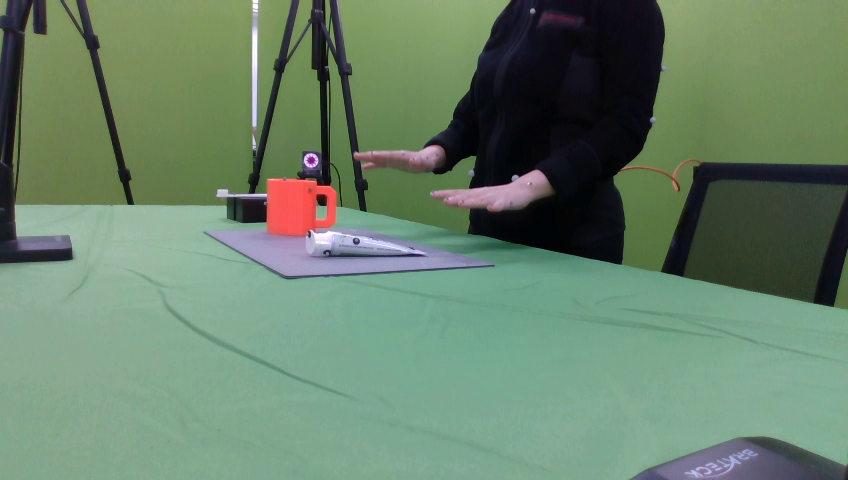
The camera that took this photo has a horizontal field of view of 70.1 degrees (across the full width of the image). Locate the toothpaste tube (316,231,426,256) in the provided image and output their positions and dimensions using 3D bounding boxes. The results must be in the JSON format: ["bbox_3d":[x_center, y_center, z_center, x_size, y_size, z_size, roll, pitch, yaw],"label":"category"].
[{"bbox_3d":[-0.080,0.009,0.870,0.166,0.034,0.055,4,11,-26],"label":"toothpaste tube"}]

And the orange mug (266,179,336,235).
[{"bbox_3d":[-0.222,-0.062,1.094,0.127,0.101,0.083,-5,10,-22],"label":"orange mug"}]

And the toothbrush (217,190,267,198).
[{"bbox_3d":[-0.344,-0.096,1.282,0.183,0.016,0.014,-1,5,-27],"label":"toothbrush"}]

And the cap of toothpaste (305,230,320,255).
[{"bbox_3d":[-0.154,0.003,0.836,0.011,0.037,0.037,-3,9,-34],"label":"cap of toothpaste"}]
